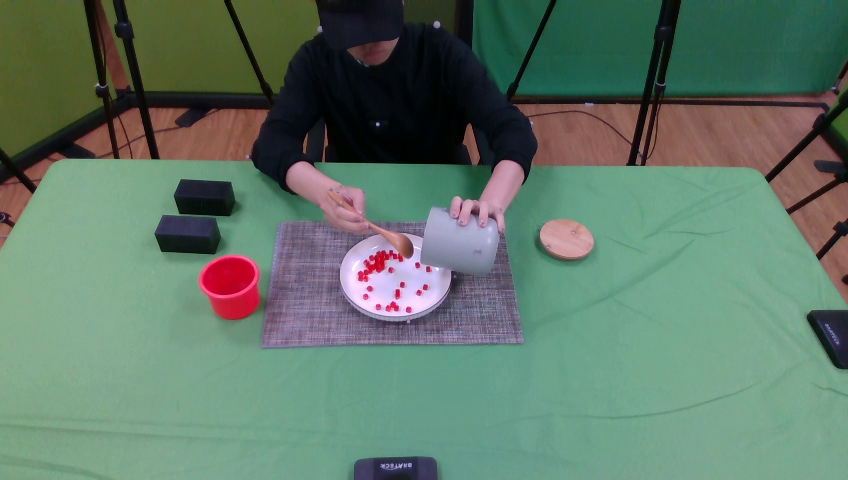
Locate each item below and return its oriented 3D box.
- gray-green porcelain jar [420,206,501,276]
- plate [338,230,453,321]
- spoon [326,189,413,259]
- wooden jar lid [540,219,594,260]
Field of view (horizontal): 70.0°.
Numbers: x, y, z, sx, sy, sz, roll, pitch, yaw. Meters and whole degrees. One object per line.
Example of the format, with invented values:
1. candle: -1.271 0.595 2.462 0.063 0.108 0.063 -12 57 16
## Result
1. gray-green porcelain jar: 0.065 0.003 1.058 0.126 0.106 0.105 11 46 5
2. plate: -0.051 0.067 1.111 0.208 0.039 0.206 2 46 -2
3. spoon: -0.093 -0.027 1.054 0.194 0.021 0.041 34 51 -19
4. wooden jar lid: 0.286 0.001 1.218 0.108 0.021 0.107 1 46 -1
